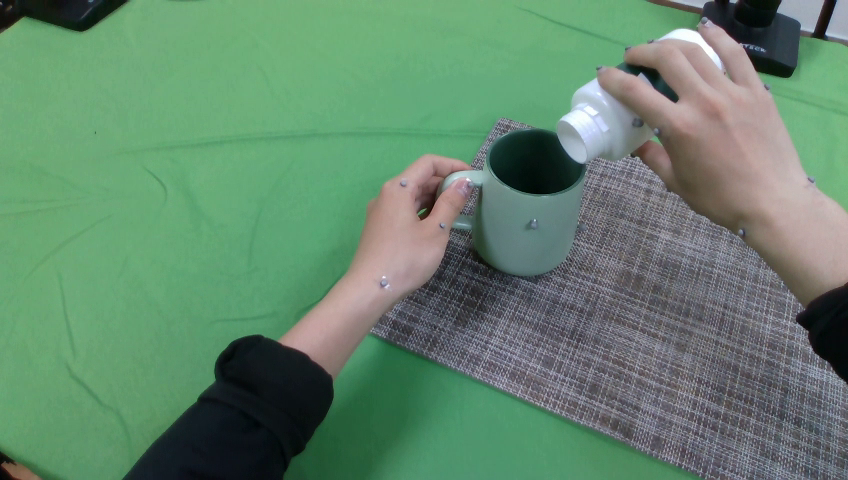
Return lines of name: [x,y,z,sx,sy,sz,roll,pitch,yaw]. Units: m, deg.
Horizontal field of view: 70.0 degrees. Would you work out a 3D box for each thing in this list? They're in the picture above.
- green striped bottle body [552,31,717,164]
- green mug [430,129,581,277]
green striped bottle body: [0.158,-0.105,0.467,0.119,0.064,0.062,-33,57,-8]
green mug: [0.068,-0.029,0.517,0.125,0.106,0.091,-1,52,-1]
